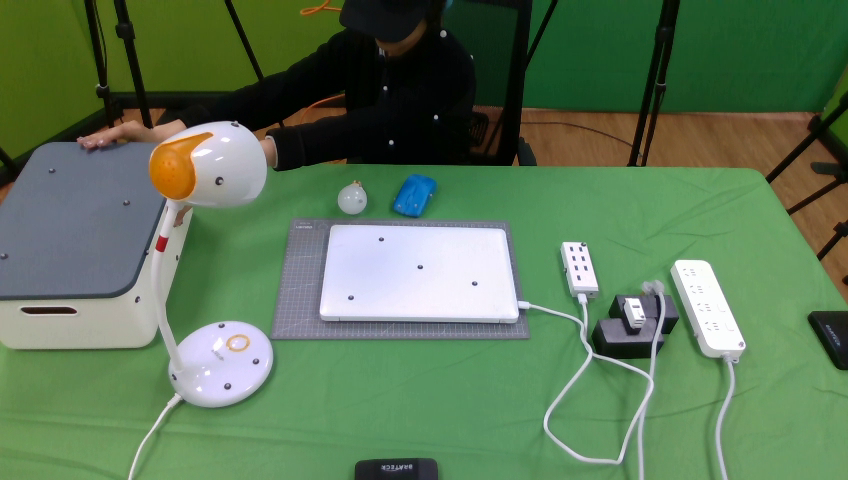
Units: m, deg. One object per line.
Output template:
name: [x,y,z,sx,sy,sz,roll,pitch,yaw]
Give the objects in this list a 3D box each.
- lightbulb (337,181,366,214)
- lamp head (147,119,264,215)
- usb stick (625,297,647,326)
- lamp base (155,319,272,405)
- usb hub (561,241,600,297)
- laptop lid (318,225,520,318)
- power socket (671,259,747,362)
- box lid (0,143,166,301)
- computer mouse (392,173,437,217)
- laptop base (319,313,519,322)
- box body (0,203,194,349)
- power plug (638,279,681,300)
lightbulb: [-0.147,-0.094,1.261,0.059,0.060,0.107,4,30,0]
lamp head: [-0.276,-0.087,0.740,0.112,0.112,0.123,20,23,15]
usb stick: [0.360,0.116,1.034,0.021,0.027,0.059,-2,44,-2]
lamp base: [-0.330,0.149,0.918,0.160,0.181,0.179,26,52,20]
usb hub: [0.300,0.055,1.162,0.049,0.025,0.124,2,46,-3]
laptop lid: [-0.009,0.052,1.131,0.357,0.013,0.240,2,43,-2]
power socket: [0.516,0.119,1.108,0.072,0.033,0.225,1,46,-2]
box lid: [-0.567,-0.045,0.999,0.263,0.015,0.369,-1,45,-4]
computer mouse: [-0.018,-0.099,1.282,0.062,0.041,0.117,20,52,12]
laptop base: [-0.009,0.063,1.137,0.354,0.023,0.234,1,42,-3]
box body: [-0.570,0.006,1.054,0.254,0.161,0.361,-1,46,-4]
power plug: [0.434,0.099,1.119,0.073,0.053,0.035,34,38,-16]
